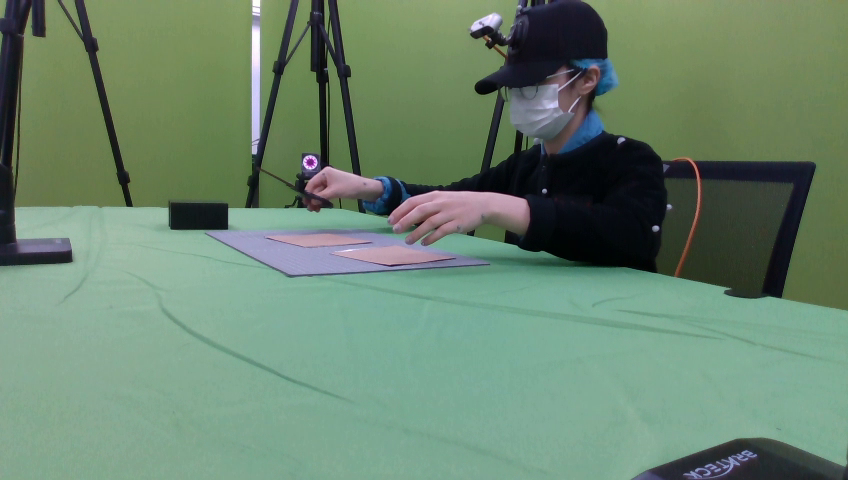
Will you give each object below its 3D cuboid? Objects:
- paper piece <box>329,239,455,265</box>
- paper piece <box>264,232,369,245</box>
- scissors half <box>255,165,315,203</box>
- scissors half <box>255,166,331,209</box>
[{"bbox_3d":[-0.047,0.018,0.892,0.137,0.008,0.137,12,16,44],"label":"paper piece"},{"bbox_3d":[-0.180,-0.005,1.032,0.136,0.004,0.135,-3,9,-43],"label":"paper piece"},{"bbox_3d":[-0.258,-0.105,1.157,0.040,0.013,0.176,25,-5,36],"label":"scissors half"},{"bbox_3d":[-0.244,-0.100,1.144,0.176,0.013,0.040,29,-9,-37],"label":"scissors half"}]
